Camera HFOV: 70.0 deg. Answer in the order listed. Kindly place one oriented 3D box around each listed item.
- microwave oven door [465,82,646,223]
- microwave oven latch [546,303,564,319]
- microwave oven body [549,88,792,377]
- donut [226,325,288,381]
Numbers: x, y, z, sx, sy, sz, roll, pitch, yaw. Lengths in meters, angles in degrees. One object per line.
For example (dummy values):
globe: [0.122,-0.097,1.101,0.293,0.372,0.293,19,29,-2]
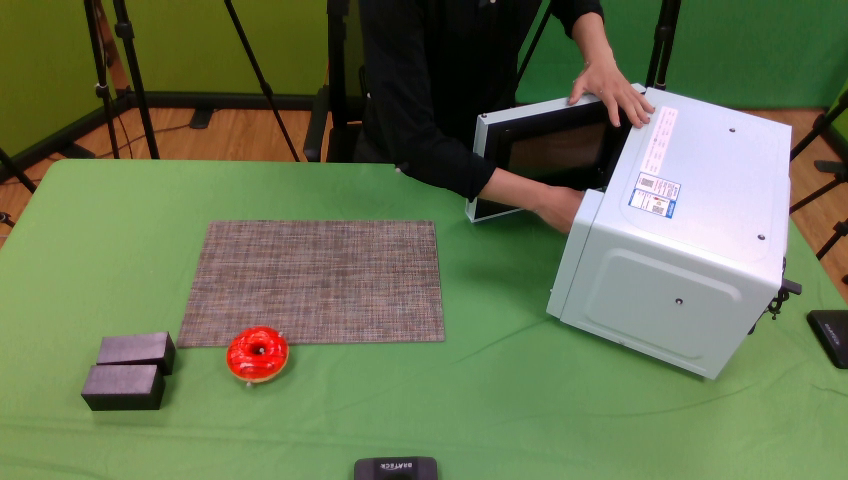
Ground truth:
microwave oven door: [0.259,-0.174,1.206,0.356,0.245,0.039,-15,48,-17]
microwave oven latch: [0.242,0.102,1.081,0.030,0.029,0.079,21,48,17]
microwave oven body: [0.456,-0.028,1.088,0.325,0.261,0.440,20,47,16]
donut: [-0.270,0.182,0.984,0.099,0.048,0.098,5,49,-5]
